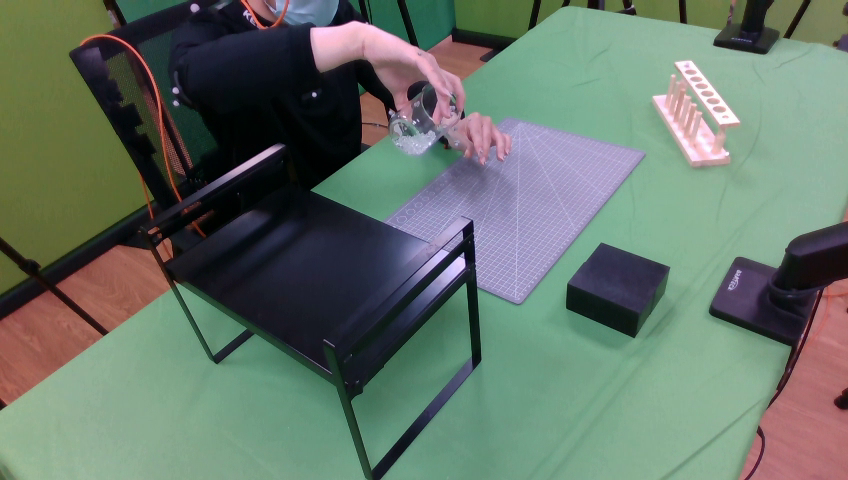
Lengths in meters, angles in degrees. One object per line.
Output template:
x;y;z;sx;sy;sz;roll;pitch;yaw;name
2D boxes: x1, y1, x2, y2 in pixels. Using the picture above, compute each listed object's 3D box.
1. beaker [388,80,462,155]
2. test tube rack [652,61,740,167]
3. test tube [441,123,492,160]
0.000;-0.176;0.890;0.073;0.084;0.100;16;46;31;beaker
0.499;-0.242;1.130;0.067;0.085;0.241;-5;41;4;test tube rack
0.073;-0.160;1.002;0.017;0.151;0.017;-8;74;33;test tube
